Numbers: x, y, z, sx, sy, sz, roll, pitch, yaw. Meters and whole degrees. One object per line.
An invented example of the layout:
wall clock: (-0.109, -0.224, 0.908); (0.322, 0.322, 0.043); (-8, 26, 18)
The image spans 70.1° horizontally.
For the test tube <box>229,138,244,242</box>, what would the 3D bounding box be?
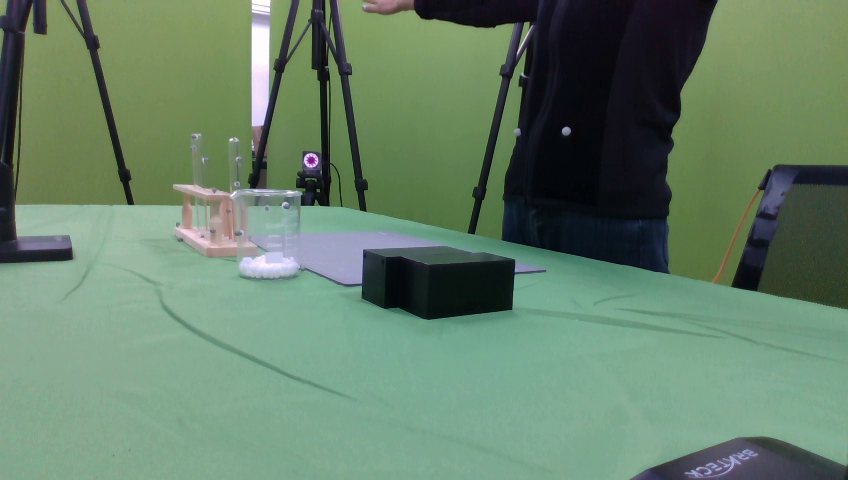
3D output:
test tube: (-0.269, -0.071, 0.867); (0.017, 0.150, 0.017); (0, 9, 0)

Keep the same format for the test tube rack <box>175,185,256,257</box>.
test tube rack: (-0.324, -0.035, 0.922); (0.067, 0.085, 0.241); (-2, 9, -31)

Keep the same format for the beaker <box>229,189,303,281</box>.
beaker: (-0.181, -0.007, 0.695); (0.084, 0.100, 0.073); (-4, 9, -36)

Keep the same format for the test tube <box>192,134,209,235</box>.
test tube: (-0.332, -0.082, 0.898); (0.017, 0.150, 0.017); (-2, 6, 0)
